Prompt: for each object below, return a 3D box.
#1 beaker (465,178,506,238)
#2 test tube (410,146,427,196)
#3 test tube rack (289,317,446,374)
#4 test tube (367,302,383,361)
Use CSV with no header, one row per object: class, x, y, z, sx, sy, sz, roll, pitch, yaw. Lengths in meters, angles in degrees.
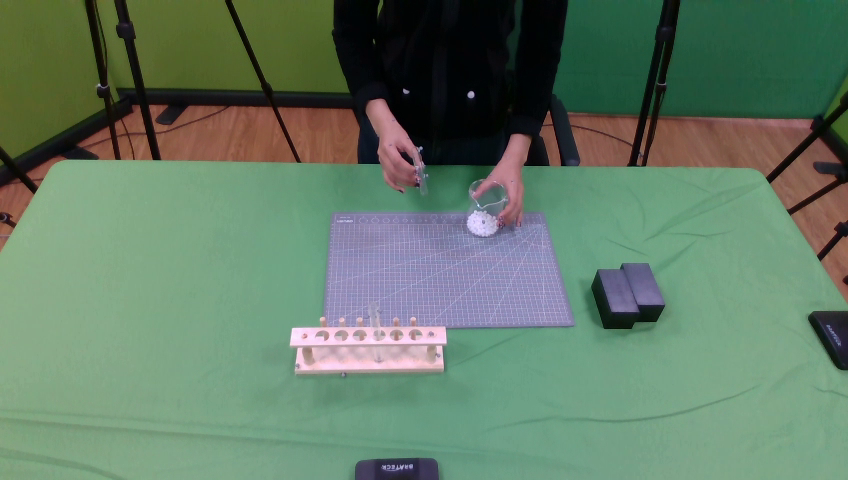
beaker,0.120,-0.059,1.209,0.074,0.101,0.083,16,48,12
test tube,-0.010,-0.128,1.155,0.017,0.151,0.017,-3,61,6
test tube rack,-0.089,0.167,0.988,0.242,0.085,0.066,0,46,-4
test tube,-0.075,0.145,0.941,0.017,0.151,0.017,0,49,0
